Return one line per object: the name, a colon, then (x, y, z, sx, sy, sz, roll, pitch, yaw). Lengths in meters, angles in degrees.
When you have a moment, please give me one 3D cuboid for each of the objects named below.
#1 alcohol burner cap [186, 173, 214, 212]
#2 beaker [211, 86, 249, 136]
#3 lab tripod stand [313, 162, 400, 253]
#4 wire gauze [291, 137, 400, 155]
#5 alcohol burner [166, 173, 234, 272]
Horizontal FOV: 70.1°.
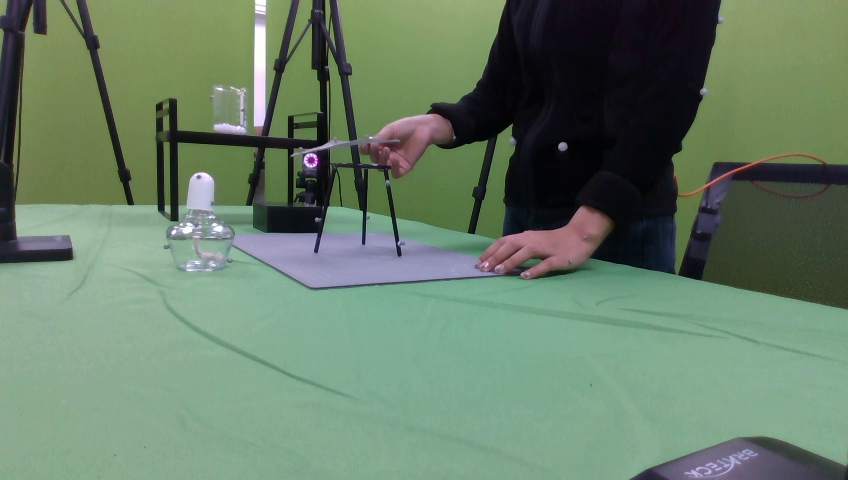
alcohol burner cap: (-0.268, -0.057, 0.730, 0.034, 0.048, 0.034, 5, 2, 0)
beaker: (-0.413, -0.274, 1.297, 0.074, 0.100, 0.083, -5, 11, -44)
lab tripod stand: (-0.097, -0.051, 0.906, 0.148, 0.131, 0.148, 0, 6, 0)
wire gauze: (-0.118, -0.147, 0.916, 0.121, 0.011, 0.125, -3, 13, 25)
alcohol burner: (-0.271, -0.022, 0.735, 0.078, 0.119, 0.078, 2, 5, 0)
